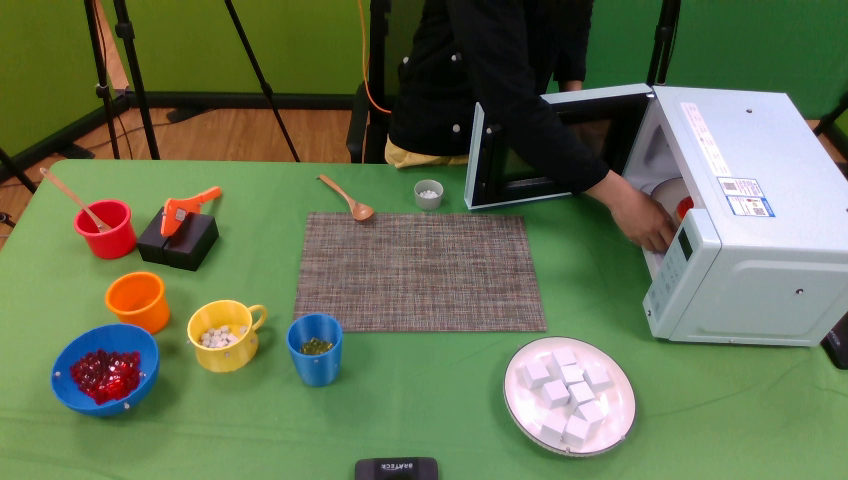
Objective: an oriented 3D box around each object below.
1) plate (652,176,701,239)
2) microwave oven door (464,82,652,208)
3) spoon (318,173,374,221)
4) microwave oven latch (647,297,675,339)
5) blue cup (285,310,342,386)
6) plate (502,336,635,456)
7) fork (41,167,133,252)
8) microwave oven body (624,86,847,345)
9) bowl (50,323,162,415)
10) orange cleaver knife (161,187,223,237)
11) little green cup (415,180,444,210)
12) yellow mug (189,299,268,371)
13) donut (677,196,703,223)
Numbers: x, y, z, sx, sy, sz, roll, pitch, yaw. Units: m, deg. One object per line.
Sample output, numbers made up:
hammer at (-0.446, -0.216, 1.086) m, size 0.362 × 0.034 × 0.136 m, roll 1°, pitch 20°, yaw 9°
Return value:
plate at (0.547, -0.043, 1.181) m, size 0.209 × 0.038 × 0.208 m, roll 2°, pitch 47°, yaw -2°
microwave oven door at (0.264, -0.189, 1.221) m, size 0.356 × 0.245 × 0.039 m, roll -9°, pitch 48°, yaw -13°
spoon at (-0.168, -0.095, 1.274) m, size 0.041 × 0.022 × 0.192 m, roll -42°, pitch 58°, yaw -10°
microwave oven latch at (0.413, 0.134, 1.061) m, size 0.030 × 0.029 × 0.078 m, roll 5°, pitch 45°, yaw 2°
blue cup at (-0.169, 0.179, 0.958) m, size 0.093 × 0.101 × 0.092 m, roll 1°, pitch 44°, yaw -1°
plate at (0.225, 0.248, 0.963) m, size 0.208 × 0.039 × 0.206 m, roll 2°, pitch 46°, yaw -2°
fork at (-0.624, -0.055, 1.121) m, size 0.208 × 0.018 × 0.028 m, roll 50°, pitch 51°, yaw -15°
microwave oven body at (0.568, -0.053, 1.118) m, size 0.326 × 0.261 × 0.439 m, roll 2°, pitch 45°, yaw -1°
bowl at (-0.472, 0.209, 0.924) m, size 0.151 × 0.077 × 0.150 m, roll 2°, pitch 45°, yaw -2°
orange cleaver knife at (-0.448, -0.058, 1.181) m, size 0.012 × 0.077 × 0.211 m, roll 13°, pitch 17°, yaw 6°
little green cup at (0.010, -0.094, 1.278) m, size 0.061 × 0.039 × 0.061 m, roll 3°, pitch 49°, yaw -3°
yellow mug at (-0.316, 0.148, 1.002) m, size 0.131 × 0.064 × 0.099 m, roll -32°, pitch 56°, yaw -31°
donut at (0.538, -0.046, 1.169) m, size 0.099 × 0.048 × 0.098 m, roll 7°, pitch 41°, yaw -5°
